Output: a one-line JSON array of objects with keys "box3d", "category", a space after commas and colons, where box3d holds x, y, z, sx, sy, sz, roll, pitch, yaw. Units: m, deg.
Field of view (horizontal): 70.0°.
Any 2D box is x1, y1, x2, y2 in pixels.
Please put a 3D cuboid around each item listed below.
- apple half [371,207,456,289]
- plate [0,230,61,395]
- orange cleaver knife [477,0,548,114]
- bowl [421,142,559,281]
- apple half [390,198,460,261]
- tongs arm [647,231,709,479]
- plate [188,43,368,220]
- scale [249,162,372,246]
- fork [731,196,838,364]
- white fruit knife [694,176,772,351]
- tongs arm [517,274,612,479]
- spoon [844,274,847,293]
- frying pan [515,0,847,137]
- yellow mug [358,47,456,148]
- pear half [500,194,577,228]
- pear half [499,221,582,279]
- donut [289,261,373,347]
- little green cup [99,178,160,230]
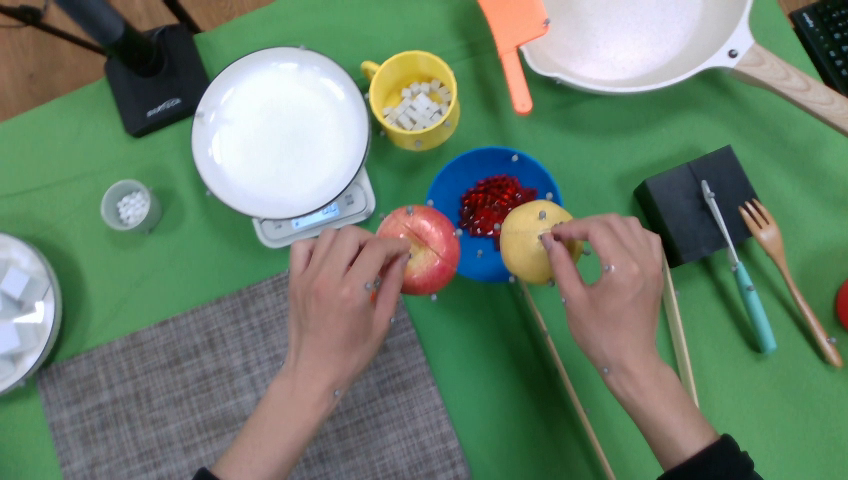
[{"box3d": [-0.016, 0.015, 0.549, 0.081, 0.074, 0.053, 41, 92, 2], "category": "apple half"}, {"box3d": [-0.534, 0.090, 0.734, 0.207, 0.039, 0.207, -1, 81, 5], "category": "plate"}, {"box3d": [0.097, -0.246, 0.678, 0.077, 0.012, 0.210, -18, 81, 5], "category": "orange cleaver knife"}, {"box3d": [0.073, -0.025, 0.680, 0.151, 0.077, 0.151, -1, 82, 5], "category": "bowl"}, {"box3d": [0.008, -0.015, 0.548, 0.081, 0.081, 0.033, 40, 92, 10], "category": "apple half"}, {"box3d": [0.277, 0.180, 0.655, 0.028, 0.028, 0.386, -6, 81, -2], "category": "tongs arm"}, {"box3d": [-0.165, -0.124, 0.704, 0.209, 0.038, 0.208, -1, 81, 4], "category": "plate"}, {"box3d": [-0.157, -0.105, 0.734, 0.148, 0.031, 0.200, -18, 81, 2], "category": "scale"}, {"box3d": [0.390, 0.045, 0.649, 0.028, 0.018, 0.207, -32, 95, -3], "category": "fork"}, {"box3d": [0.329, 0.027, 0.649, 0.016, 0.027, 0.207, -24, 95, 1], "category": "white fruit knife"}, {"box3d": [0.196, 0.204, 0.657, 0.051, 0.026, 0.383, -21, 81, -1], "category": "tongs arm"}, {"box3d": [0.498, 0.091, 0.593, 0.041, 0.022, 0.191, -28, 36, 0], "category": "spoon"}, {"box3d": [0.297, -0.239, 0.678, 0.485, 0.103, 0.306, 40, 88, 17], "category": "frying pan"}, {"box3d": [-0.026, -0.174, 0.715, 0.130, 0.064, 0.100, 35, 86, 10], "category": "yellow mug"}, {"box3d": [0.104, -0.027, 0.562, 0.070, 0.088, 0.031, -12, 87, 1], "category": "pear half"}, {"box3d": [0.109, 0.008, 0.550, 0.076, 0.110, 0.056, -11, 87, 2], "category": "pear half"}, {"box3d": [-0.106, 0.073, 0.693, 0.099, 0.048, 0.098, -1, 82, 7], "category": "donut"}, {"box3d": [-0.356, -0.041, 0.737, 0.061, 0.039, 0.061, -1, 81, 5], "category": "little green cup"}]
